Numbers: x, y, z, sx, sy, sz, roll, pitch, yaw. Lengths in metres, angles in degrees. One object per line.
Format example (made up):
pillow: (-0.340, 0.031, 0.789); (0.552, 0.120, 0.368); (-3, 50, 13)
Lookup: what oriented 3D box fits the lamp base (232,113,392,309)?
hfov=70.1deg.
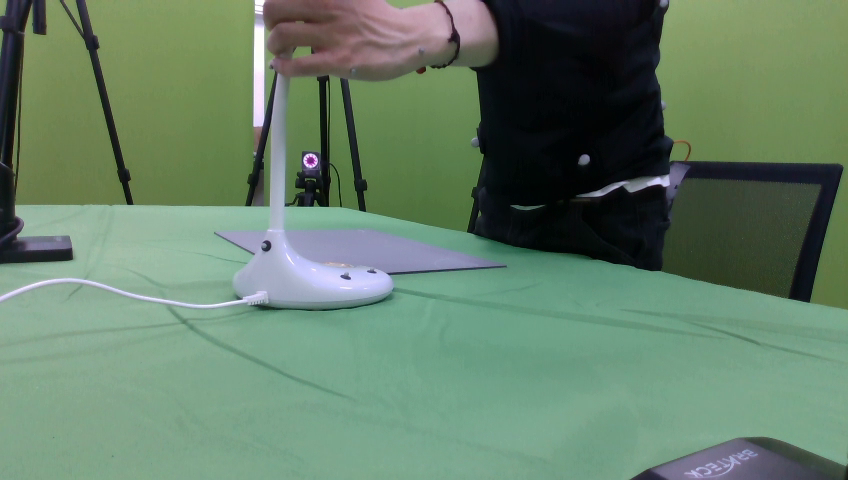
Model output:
lamp base: (-0.113, -0.031, 0.594); (0.160, 0.180, 0.179); (4, 10, 18)
